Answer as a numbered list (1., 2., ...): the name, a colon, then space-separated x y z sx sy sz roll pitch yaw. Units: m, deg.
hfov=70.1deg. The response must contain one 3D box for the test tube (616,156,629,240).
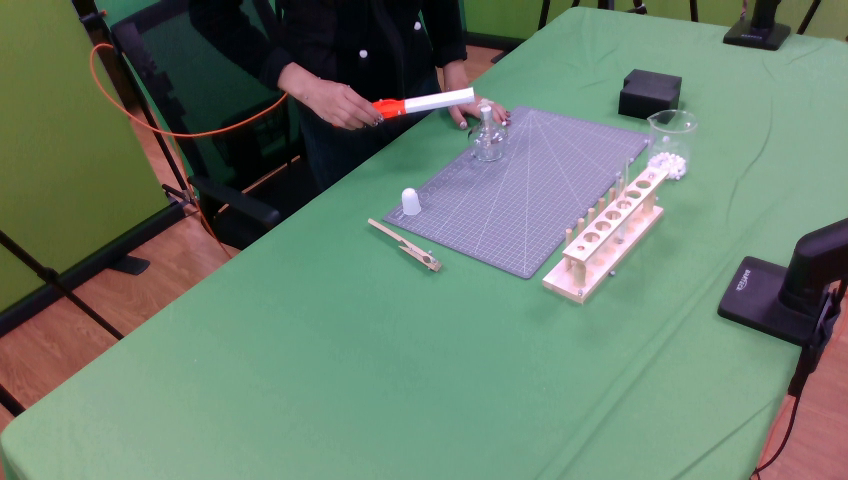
1. test tube: 0.284 -0.057 0.869 0.017 0.151 0.017 -8 42 8

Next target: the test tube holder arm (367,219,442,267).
1. test tube holder arm: -0.035 0.003 0.985 0.177 0.015 0.013 32 90 40

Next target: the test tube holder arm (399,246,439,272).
1. test tube holder arm: -0.009 0.026 0.957 0.087 0.015 0.010 34 91 40

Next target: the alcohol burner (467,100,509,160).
1. alcohol burner: 0.118 -0.210 1.131 0.078 0.119 0.077 -6 42 6

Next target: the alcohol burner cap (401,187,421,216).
1. alcohol burner cap: -0.025 -0.070 1.048 0.034 0.048 0.033 -5 41 5

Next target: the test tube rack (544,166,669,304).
1. test tube rack: 0.274 -0.018 0.903 0.066 0.085 0.243 26 51 35

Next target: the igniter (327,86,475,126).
1. igniter: -0.046 -0.245 1.109 0.276 0.025 0.057 -8 42 7

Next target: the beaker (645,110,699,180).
1. beaker: 0.417 -0.160 1.032 0.083 0.101 0.074 25 51 35
